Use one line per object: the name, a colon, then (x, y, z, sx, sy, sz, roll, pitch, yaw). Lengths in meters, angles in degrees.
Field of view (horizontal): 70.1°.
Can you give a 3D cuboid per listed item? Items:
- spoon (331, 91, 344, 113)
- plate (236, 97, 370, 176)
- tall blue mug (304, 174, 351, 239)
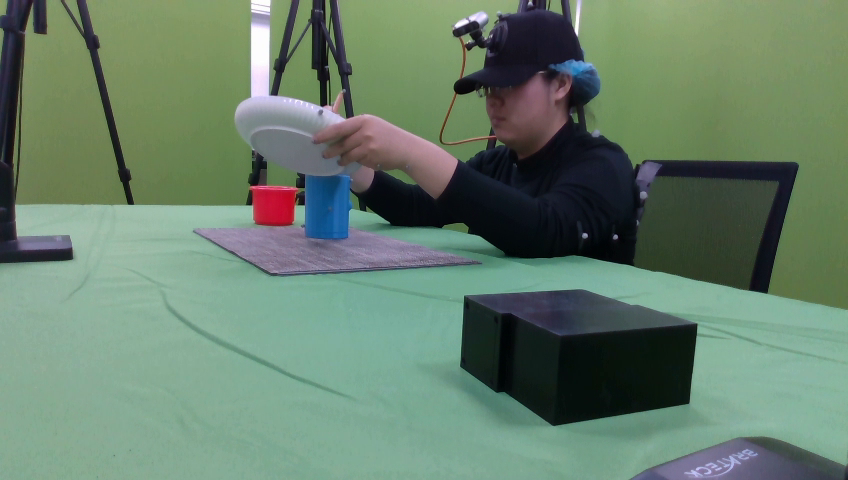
spoon: (-0.176, -0.198, 1.063, 0.022, 0.193, 0.041, 31, -38, -12)
plate: (-0.190, -0.148, 0.939, 0.207, 0.039, 0.208, 10, -18, 4)
tall blue mug: (-0.178, -0.062, 1.062, 0.078, 0.108, 0.106, -5, 11, -38)
